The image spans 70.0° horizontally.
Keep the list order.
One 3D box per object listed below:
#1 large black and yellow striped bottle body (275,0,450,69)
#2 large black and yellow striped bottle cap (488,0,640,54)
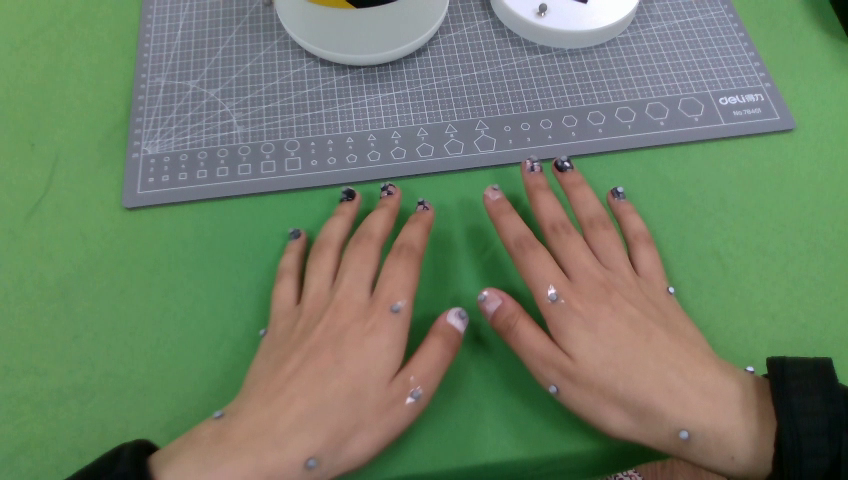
[{"bbox_3d":[-0.046,-0.219,0.386,0.131,0.185,0.129,0,62,0],"label":"large black and yellow striped bottle body"},{"bbox_3d":[0.107,-0.191,0.467,0.115,0.019,0.114,0,61,0],"label":"large black and yellow striped bottle cap"}]
